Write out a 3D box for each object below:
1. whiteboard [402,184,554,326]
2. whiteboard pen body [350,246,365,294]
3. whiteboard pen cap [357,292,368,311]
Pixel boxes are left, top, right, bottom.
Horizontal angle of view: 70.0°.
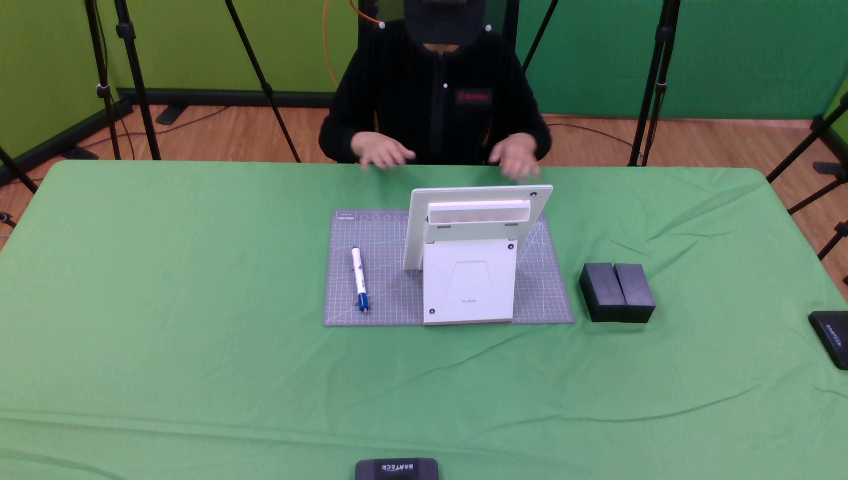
[{"bbox_3d":[0.081,0.044,1.005,0.217,0.306,0.143,-1,66,-6],"label":"whiteboard"},{"bbox_3d":[-0.121,0.066,1.121,0.017,0.017,0.140,-6,49,-9],"label":"whiteboard pen body"},{"bbox_3d":[-0.110,0.110,1.083,0.018,0.018,0.033,-5,48,-9],"label":"whiteboard pen cap"}]
